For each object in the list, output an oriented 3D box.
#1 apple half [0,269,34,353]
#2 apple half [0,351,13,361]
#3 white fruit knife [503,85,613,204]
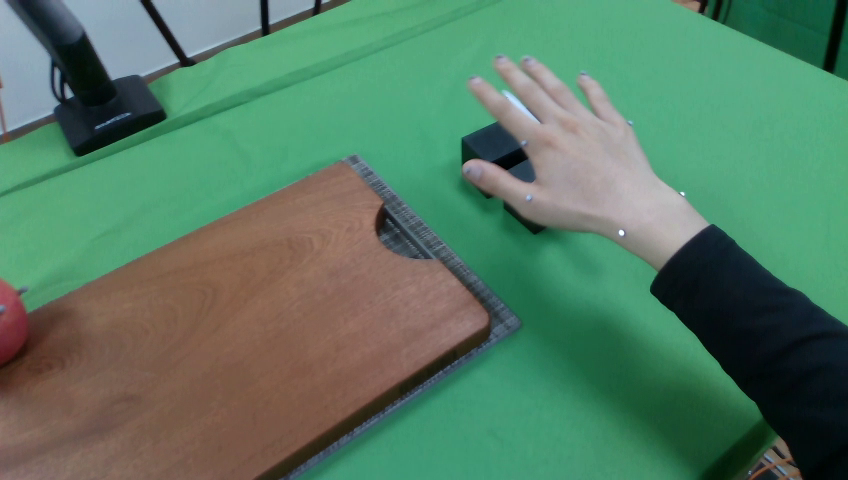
[{"bbox_3d":[-0.352,0.055,0.512,0.033,0.082,0.080,-25,51,-10],"label":"apple half"},{"bbox_3d":[-0.387,0.070,0.505,0.053,0.075,0.080,-24,53,-10],"label":"apple half"},{"bbox_3d":[0.125,-0.104,0.611,0.027,0.016,0.205,-1,42,-26],"label":"white fruit knife"}]
